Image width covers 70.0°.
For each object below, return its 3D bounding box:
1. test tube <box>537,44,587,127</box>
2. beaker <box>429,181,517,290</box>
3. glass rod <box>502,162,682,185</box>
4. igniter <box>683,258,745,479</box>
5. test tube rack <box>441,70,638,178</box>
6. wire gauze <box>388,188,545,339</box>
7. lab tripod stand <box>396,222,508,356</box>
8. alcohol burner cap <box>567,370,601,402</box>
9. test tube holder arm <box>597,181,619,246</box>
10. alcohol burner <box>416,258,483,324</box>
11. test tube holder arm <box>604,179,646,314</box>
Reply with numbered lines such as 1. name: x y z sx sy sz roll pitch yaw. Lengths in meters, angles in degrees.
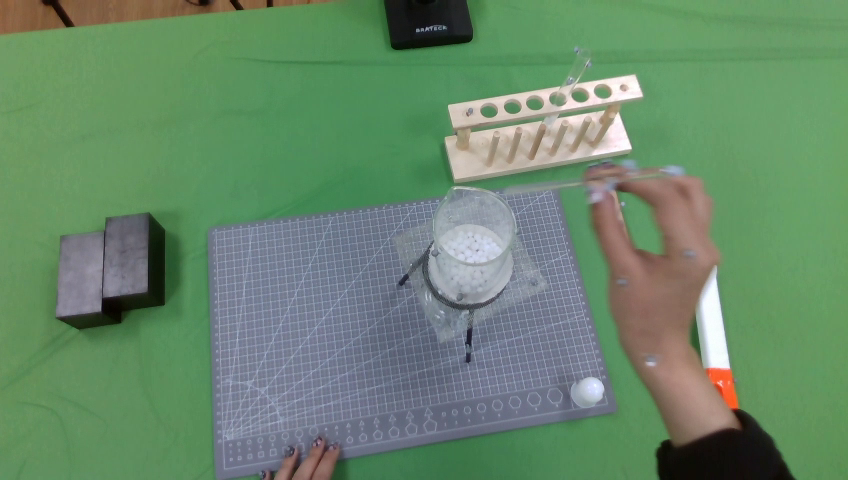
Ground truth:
1. test tube: 0.166 -0.184 0.743 0.017 0.151 0.017 3 66 -7
2. beaker: 0.040 -0.001 0.569 0.074 0.101 0.083 -23 70 -8
3. glass rod: 0.104 -0.046 0.424 0.008 0.198 0.008 -1 93 -22
4. igniter: 0.333 0.152 0.701 0.057 0.025 0.274 6 68 -10
5. test tube rack: 0.148 -0.148 0.781 0.242 0.086 0.066 -10 69 -6
6. wire gauze: 0.042 0.019 0.613 0.121 0.011 0.124 -25 72 -7
7. lab tripod stand: 0.035 0.046 0.673 0.148 0.132 0.147 0 69 0
8. alcohol burner cap: 0.182 0.162 0.681 0.034 0.048 0.033 1 68 -1
9. test tube holder arm: 0.239 -0.034 0.777 0.010 0.015 0.087 -20 68 26
10. alcohol burner: 0.030 0.052 0.681 0.078 0.120 0.077 0 67 -1
11. test tube holder arm: 0.251 0.006 0.759 0.013 0.015 0.177 -20 67 26
